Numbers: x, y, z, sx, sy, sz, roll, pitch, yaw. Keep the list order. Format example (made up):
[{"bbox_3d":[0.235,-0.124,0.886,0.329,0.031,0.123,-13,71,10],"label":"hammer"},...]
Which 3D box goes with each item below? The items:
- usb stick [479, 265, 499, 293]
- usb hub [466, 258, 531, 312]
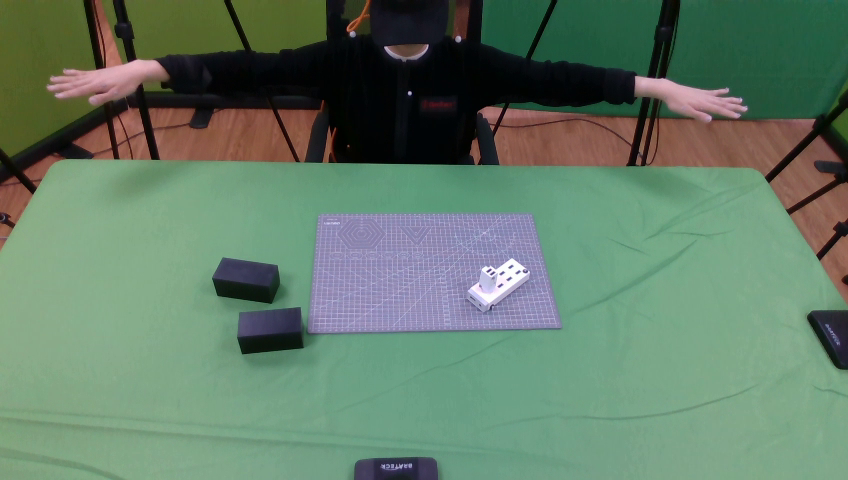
[{"bbox_3d":[0.115,0.074,1.084,0.021,0.059,0.027,-34,60,-31],"label":"usb stick"},{"bbox_3d":[0.139,0.083,1.121,0.125,0.025,0.049,-32,56,-30],"label":"usb hub"}]
